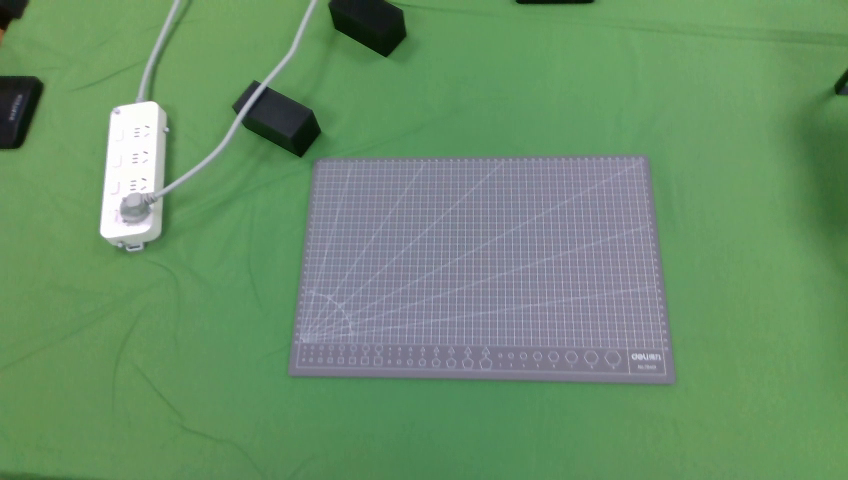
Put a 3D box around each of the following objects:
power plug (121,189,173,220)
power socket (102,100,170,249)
[{"bbox_3d":[-0.355,-0.042,0.785,0.072,0.053,0.035,3,67,3],"label":"power plug"},{"bbox_3d":[-0.393,-0.097,0.832,0.072,0.033,0.225,-7,67,0],"label":"power socket"}]
